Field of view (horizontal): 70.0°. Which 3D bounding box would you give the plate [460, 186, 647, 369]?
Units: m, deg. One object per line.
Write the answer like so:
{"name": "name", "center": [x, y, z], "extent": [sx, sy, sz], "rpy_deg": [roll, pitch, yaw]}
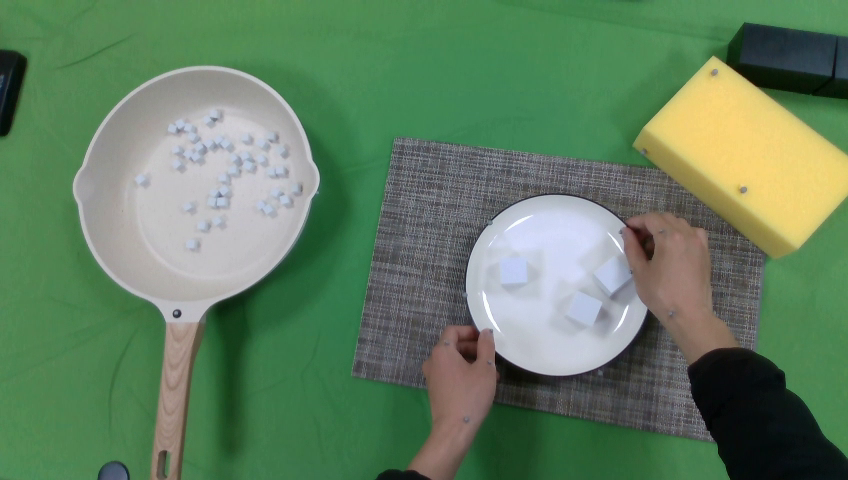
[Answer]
{"name": "plate", "center": [0.146, 0.042, 0.698], "extent": [0.207, 0.039, 0.207], "rpy_deg": [-1, 81, 6]}

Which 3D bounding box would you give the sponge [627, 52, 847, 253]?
{"name": "sponge", "center": [0.354, -0.099, 0.685], "extent": [0.206, 0.061, 0.118], "rpy_deg": [42, 86, 12]}

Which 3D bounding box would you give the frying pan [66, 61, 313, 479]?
{"name": "frying pan", "center": [-0.281, 0.030, 0.716], "extent": [0.306, 0.103, 0.485], "rpy_deg": [0, 73, 7]}
